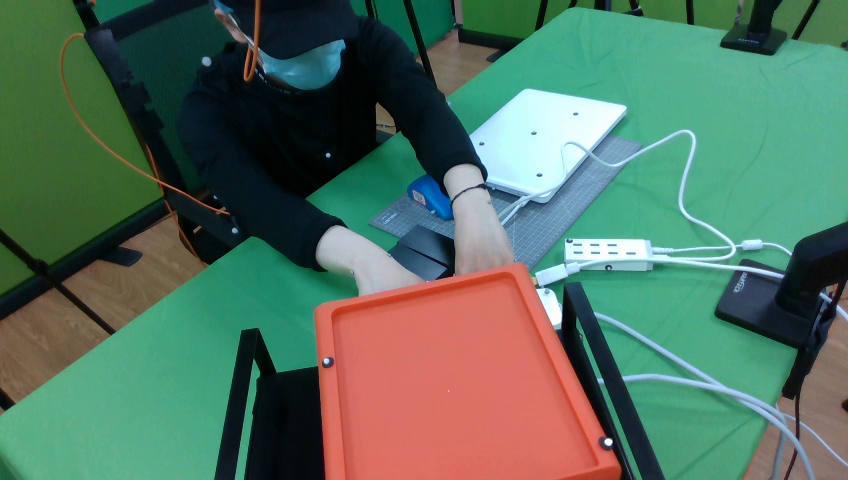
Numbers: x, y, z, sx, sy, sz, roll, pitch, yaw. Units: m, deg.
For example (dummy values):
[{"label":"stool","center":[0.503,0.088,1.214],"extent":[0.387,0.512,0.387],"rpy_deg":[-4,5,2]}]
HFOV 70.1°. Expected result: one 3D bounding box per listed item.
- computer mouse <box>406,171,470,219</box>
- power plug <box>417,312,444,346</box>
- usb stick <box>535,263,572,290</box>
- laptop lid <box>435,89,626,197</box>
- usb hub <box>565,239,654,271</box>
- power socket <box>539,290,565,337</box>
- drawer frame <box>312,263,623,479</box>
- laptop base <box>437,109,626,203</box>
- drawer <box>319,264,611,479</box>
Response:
[{"label":"computer mouse","center":[0.024,-0.082,1.049],"extent":[0.063,0.041,0.116],"rpy_deg":[-29,49,-27]},{"label":"power plug","center":[0.008,0.124,0.785],"extent":[0.035,0.053,0.072],"rpy_deg":[-3,38,6]},{"label":"usb stick","center":[0.182,0.056,0.875],"extent":[0.059,0.021,0.027],"rpy_deg":[-30,2,-7]},{"label":"laptop lid","center":[0.211,-0.202,1.165],"extent":[0.240,0.013,0.358],"rpy_deg":[21,47,32]},{"label":"usb hub","center":[0.275,0.022,0.906],"extent":[0.125,0.025,0.049],"rpy_deg":[1,41,9]},{"label":"power socket","center":[0.081,0.112,0.822],"extent":[0.227,0.033,0.072],"rpy_deg":[-6,41,0]},{"label":"drawer frame","center":[0.021,0.130,0.493],"extent":[0.202,0.083,0.212],"rpy_deg":[-11,41,-6]},{"label":"laptop base","center":[0.214,-0.193,1.172],"extent":[0.233,0.023,0.355],"rpy_deg":[19,46,32]},{"label":"drawer","center":[0.020,0.129,0.497],"extent":[0.195,0.073,0.210],"rpy_deg":[-11,41,-5]}]
